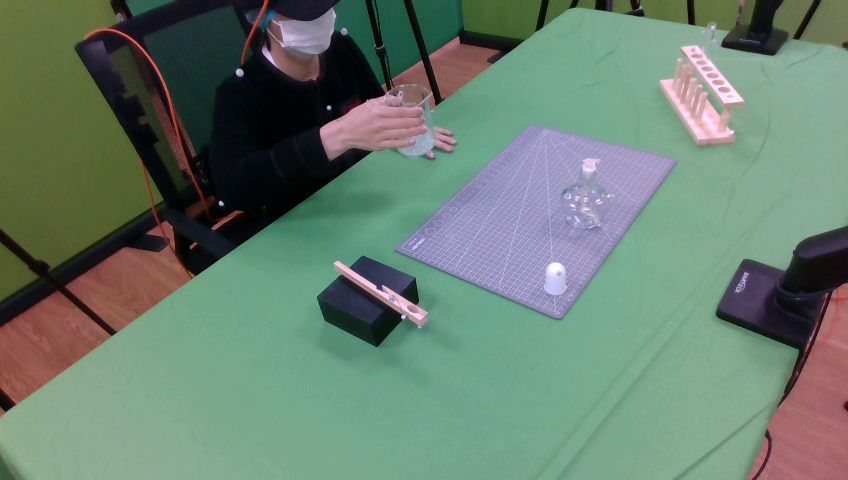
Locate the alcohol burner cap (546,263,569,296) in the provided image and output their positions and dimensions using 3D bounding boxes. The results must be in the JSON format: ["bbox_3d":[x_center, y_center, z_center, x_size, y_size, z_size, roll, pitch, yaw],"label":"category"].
[{"bbox_3d":[0.191,0.053,0.862,0.034,0.048,0.033,-5,40,4],"label":"alcohol burner cap"}]

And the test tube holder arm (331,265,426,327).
[{"bbox_3d":[-0.066,0.074,0.828,0.177,0.015,0.013,25,42,33],"label":"test tube holder arm"}]

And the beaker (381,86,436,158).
[{"bbox_3d":[-0.020,-0.195,1.003,0.084,0.101,0.073,-15,45,-1],"label":"beaker"}]

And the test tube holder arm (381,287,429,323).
[{"bbox_3d":[-0.028,0.087,0.807,0.087,0.015,0.010,25,42,33],"label":"test tube holder arm"}]

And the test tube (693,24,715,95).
[{"bbox_3d":[0.543,-0.348,1.177,0.017,0.151,0.017,-5,45,5],"label":"test tube"}]

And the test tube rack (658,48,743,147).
[{"bbox_3d":[0.532,-0.284,1.181,0.067,0.085,0.241,-5,40,4],"label":"test tube rack"}]

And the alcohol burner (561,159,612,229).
[{"bbox_3d":[0.257,-0.077,0.951,0.078,0.119,0.077,-3,40,3],"label":"alcohol burner"}]
